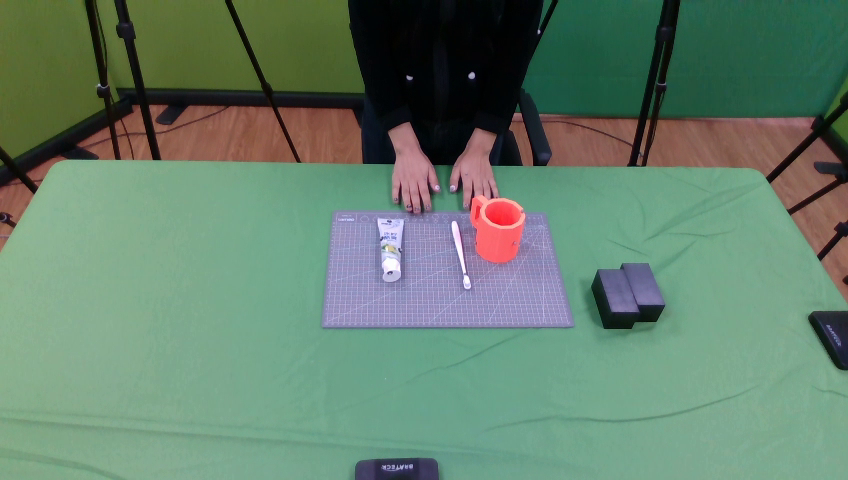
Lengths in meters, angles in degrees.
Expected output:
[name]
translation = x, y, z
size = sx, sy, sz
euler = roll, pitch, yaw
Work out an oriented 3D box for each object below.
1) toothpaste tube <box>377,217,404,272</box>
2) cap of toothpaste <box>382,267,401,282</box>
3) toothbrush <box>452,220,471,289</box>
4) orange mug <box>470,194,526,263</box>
[toothpaste tube]
translation = -0.063, 0.008, 1.179
size = 0.055, 0.034, 0.164
euler = 5, 42, -9
[cap of toothpaste]
translation = -0.060, 0.063, 1.119
size = 0.037, 0.037, 0.011
euler = -9, 50, -12
[toothbrush]
translation = 0.071, 0.024, 1.180
size = 0.014, 0.017, 0.180
euler = -13, 45, 4
[orange mug]
translation = 0.136, -0.030, 1.180
size = 0.083, 0.101, 0.125
euler = -26, 58, -26
